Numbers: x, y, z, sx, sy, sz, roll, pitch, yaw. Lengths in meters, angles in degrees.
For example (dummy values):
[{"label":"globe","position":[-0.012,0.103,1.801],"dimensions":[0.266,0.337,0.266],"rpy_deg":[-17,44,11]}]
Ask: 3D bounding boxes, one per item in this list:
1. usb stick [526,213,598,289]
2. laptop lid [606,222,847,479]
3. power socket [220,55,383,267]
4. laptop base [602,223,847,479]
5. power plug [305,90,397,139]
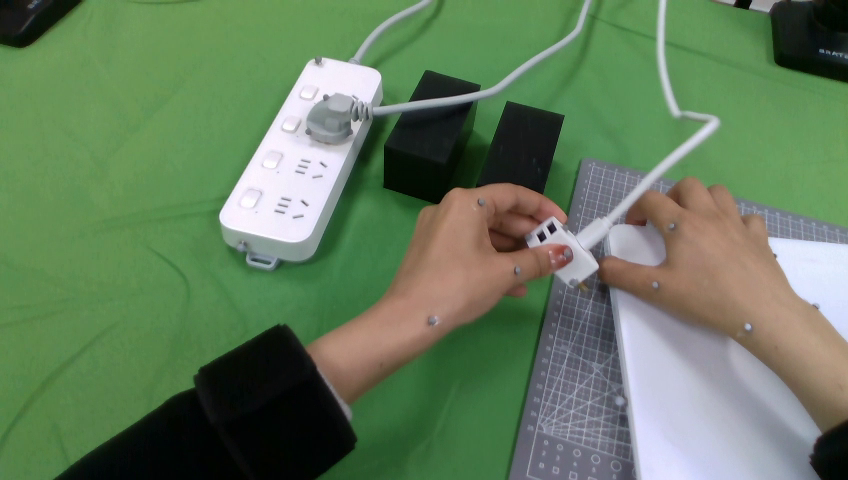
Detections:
[{"label":"usb stick","position":[0.097,0.010,0.410],"dimensions":[0.027,0.060,0.021],"rpy_deg":[-38,31,14]},{"label":"laptop lid","position":[0.307,0.096,0.409],"dimensions":[0.357,0.013,0.239],"rpy_deg":[6,56,-1]},{"label":"power socket","position":[-0.094,-0.077,0.504],"dimensions":[0.072,0.033,0.225],"rpy_deg":[15,54,4]},{"label":"laptop base","position":[0.307,0.102,0.420],"dimensions":[0.354,0.023,0.233],"rpy_deg":[5,57,-2]},{"label":"power plug","position":[-0.062,-0.091,0.488],"dimensions":[0.072,0.053,0.035],"rpy_deg":[23,55,11]}]
